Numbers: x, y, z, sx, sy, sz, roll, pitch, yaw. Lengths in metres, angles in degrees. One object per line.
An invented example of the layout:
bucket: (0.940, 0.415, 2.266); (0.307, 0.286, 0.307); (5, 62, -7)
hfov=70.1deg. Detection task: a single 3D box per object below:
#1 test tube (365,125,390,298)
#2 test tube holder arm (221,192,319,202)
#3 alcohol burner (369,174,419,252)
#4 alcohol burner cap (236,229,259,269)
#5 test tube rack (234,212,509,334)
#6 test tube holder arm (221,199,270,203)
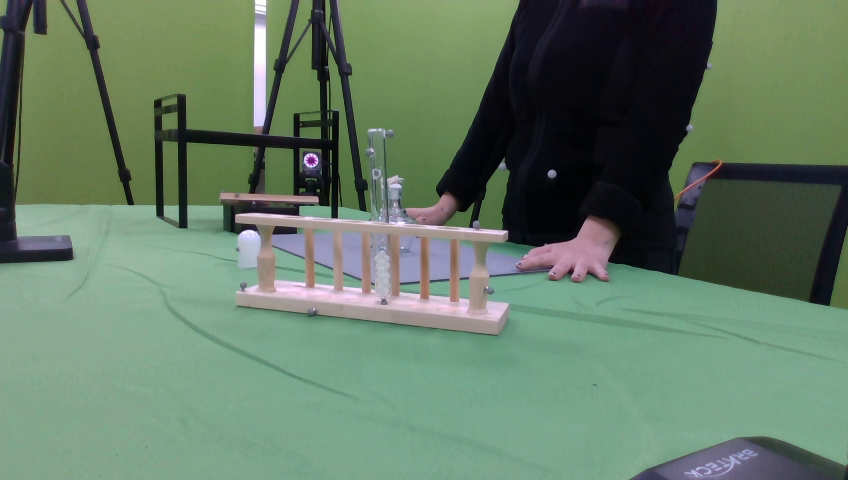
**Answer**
test tube: (-0.040, -0.023, 0.523); (0.017, 0.150, 0.017); (-2, 8, 1)
test tube holder arm: (-0.281, -0.078, 1.114); (0.179, 0.015, 0.013); (-2, -24, -29)
alcohol burner: (-0.047, -0.041, 0.922); (0.078, 0.119, 0.078); (1, 10, 0)
alcohol burner cap: (-0.220, 0.010, 0.759); (0.034, 0.048, 0.034); (1, 12, 0)
test tube rack: (-0.047, 0.023, 0.547); (0.242, 0.085, 0.067); (4, 7, 15)
test tube holder arm: (-0.323, -0.074, 1.097); (0.088, 0.015, 0.010); (-2, -24, -28)
